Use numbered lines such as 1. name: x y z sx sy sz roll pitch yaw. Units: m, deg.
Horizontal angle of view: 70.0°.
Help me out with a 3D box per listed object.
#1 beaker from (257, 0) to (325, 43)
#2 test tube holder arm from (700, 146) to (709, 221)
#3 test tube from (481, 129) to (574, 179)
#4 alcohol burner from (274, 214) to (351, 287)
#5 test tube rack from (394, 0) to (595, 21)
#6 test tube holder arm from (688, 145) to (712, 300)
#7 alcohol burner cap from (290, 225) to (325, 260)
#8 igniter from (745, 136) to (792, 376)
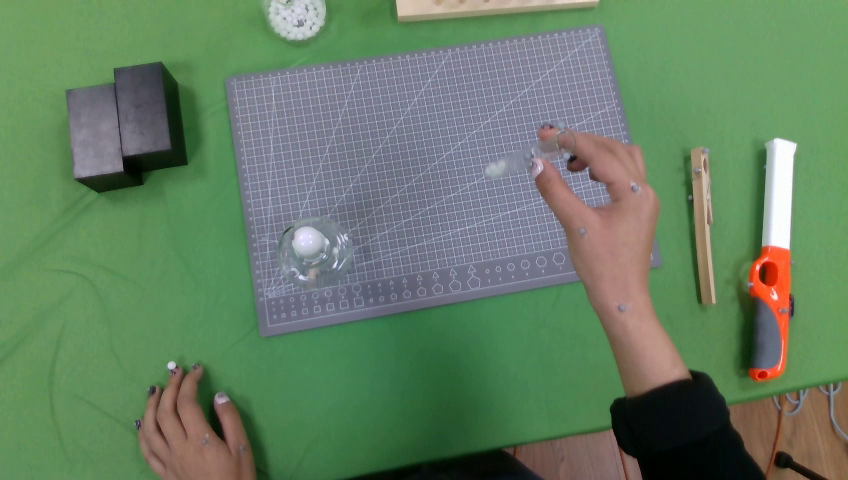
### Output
1. beaker: -0.148 -0.269 0.668 0.074 0.100 0.083 -7 80 -4
2. test tube holder arm: 0.319 -0.065 0.698 0.010 0.015 0.087 8 78 -33
3. test tube: 0.077 -0.065 0.484 0.017 0.150 0.017 0 88 -15
4. alcohol burner: -0.114 0.007 0.609 0.078 0.119 0.077 1 78 -4
5. test tube rack: 0.085 -0.313 0.696 0.242 0.085 0.066 -6 80 -4
6. test tube holder arm: 0.313 -0.021 0.688 0.013 0.015 0.177 7 79 -33
7. alcohol burner cap: -0.112 0.002 0.573 0.034 0.048 0.034 1 84 -5
8. igniter: 0.391 0.016 0.682 0.057 0.025 0.275 12 79 -11
